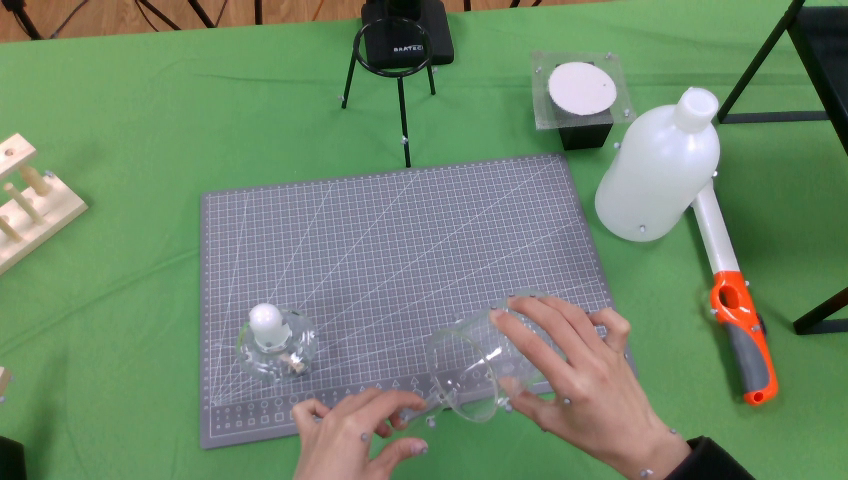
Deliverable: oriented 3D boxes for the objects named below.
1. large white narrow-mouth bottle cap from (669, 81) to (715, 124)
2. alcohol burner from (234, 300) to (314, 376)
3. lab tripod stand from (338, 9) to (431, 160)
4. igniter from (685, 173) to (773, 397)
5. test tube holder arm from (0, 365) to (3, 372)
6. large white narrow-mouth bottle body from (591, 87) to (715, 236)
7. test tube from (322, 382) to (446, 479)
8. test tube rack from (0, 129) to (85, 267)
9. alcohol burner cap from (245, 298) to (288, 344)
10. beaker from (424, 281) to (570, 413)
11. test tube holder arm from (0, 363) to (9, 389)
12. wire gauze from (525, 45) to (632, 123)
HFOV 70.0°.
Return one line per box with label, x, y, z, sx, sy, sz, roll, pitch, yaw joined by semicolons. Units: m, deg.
large white narrow-mouth bottle cap;0.255;-0.132;0.580;0.038;0.024;0.037;1;62;-2
alcohol burner;-0.147;0.089;0.587;0.078;0.120;0.077;2;61;-3
lab tripod stand;-0.039;-0.192;0.729;0.148;0.132;0.147;2;63;-4
igniter;0.339;0.040;0.687;0.057;0.025;0.274;3;62;-13
test tube holder arm;-0.405;0.154;0.545;0.010;0.015;0.087;1;62;8
large white narrow-mouth bottle body;0.252;-0.090;0.656;0.102;0.196;0.101;1;62;-1
test tube;-0.037;0.167;0.502;0.150;0.017;0.017;-45;67;19
test tube rack;-0.496;-0.002;0.635;0.066;0.086;0.242;38;67;16
alcohol burner cap;-0.146;0.072;0.554;0.034;0.048;0.033;0;57;1
beaker;0.059;0.081;0.477;0.100;0.084;0.073;-23;65;-36
test tube holder arm;-0.403;0.193;0.523;0.013;0.015;0.177;1;62;8
wire gauze;0.190;-0.198;0.759;0.121;0.011;0.124;-1;62;-3
